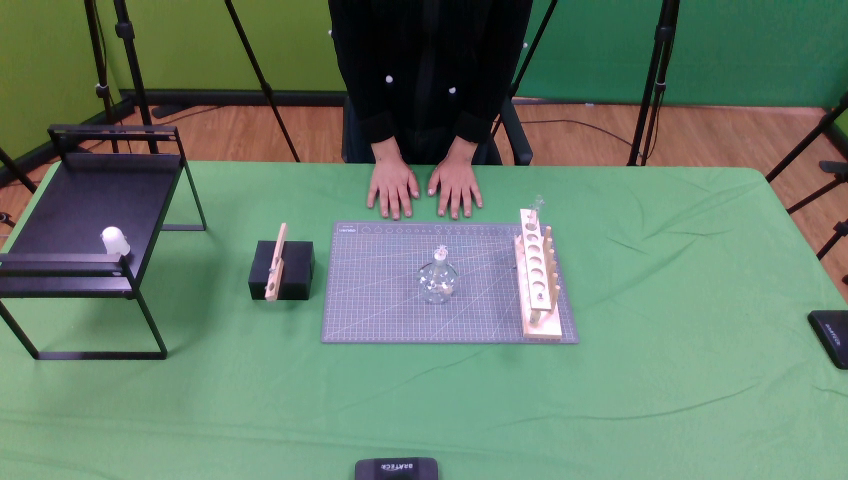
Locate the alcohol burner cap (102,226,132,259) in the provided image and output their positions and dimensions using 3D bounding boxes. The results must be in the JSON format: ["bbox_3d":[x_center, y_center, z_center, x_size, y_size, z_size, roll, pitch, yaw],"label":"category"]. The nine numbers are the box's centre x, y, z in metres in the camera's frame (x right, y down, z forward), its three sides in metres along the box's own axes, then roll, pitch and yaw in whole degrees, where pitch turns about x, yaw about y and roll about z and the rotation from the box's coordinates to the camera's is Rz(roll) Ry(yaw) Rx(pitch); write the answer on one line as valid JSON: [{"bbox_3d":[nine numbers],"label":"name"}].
[{"bbox_3d":[-0.457,0.001,0.897,0.034,0.048,0.033,1,46,-1],"label":"alcohol burner cap"}]

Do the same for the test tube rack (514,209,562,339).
[{"bbox_3d":[0.212,0.056,1.113,0.067,0.085,0.241,3,46,-1],"label":"test tube rack"}]

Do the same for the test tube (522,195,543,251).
[{"bbox_3d":[0.200,-0.028,1.125,0.017,0.151,0.017,1,50,-1],"label":"test tube"}]

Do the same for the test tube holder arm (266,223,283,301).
[{"bbox_3d":[-0.266,0.035,1.080,0.013,0.015,0.177,-5,46,-2],"label":"test tube holder arm"}]

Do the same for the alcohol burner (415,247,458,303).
[{"bbox_3d":[0.024,0.057,1.078,0.078,0.119,0.077,3,44,-3],"label":"alcohol burner"}]

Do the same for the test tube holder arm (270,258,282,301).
[{"bbox_3d":[-0.257,0.067,1.049,0.010,0.015,0.087,-4,46,-1],"label":"test tube holder arm"}]
